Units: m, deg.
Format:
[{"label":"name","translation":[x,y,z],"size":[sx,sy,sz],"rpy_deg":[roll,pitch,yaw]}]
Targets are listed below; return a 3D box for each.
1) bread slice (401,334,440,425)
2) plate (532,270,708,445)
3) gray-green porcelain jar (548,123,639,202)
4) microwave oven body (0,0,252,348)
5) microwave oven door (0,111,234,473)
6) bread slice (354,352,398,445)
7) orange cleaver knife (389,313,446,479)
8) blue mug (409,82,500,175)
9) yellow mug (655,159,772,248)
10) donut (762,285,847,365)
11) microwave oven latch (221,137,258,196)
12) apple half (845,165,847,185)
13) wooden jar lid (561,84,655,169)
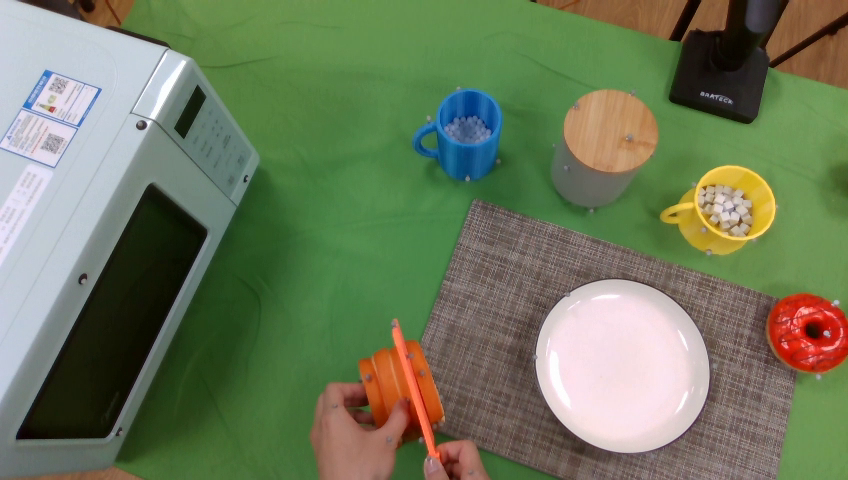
[{"label":"bread slice","translation":[-0.006,0.159,0.695],"size":[0.019,0.132,0.104],"rpy_deg":[-17,75,-8]},{"label":"plate","translation":[0.234,0.141,0.739],"size":[0.207,0.039,0.206],"rpy_deg":[0,74,2]},{"label":"gray-green porcelain jar","translation":[0.217,-0.113,0.771],"size":[0.106,0.127,0.105],"rpy_deg":[0,73,2]},{"label":"microwave oven body","translation":[-0.454,-0.017,0.689],"size":[0.325,0.261,0.440],"rpy_deg":[19,76,7]},{"label":"microwave oven door","translation":[-0.334,0.067,0.656],"size":[0.039,0.245,0.354],"rpy_deg":[19,75,7]},{"label":"bread slice","translation":[-0.055,0.177,0.693],"size":[0.018,0.135,0.106],"rpy_deg":[-20,70,-7]},{"label":"orange cleaver knife","translation":[-0.003,0.175,0.608],"size":[0.012,0.077,0.210],"rpy_deg":[-17,84,-2]},{"label":"blue mug","translation":[0.038,-0.142,0.795],"size":[0.116,0.106,0.082],"rpy_deg":[-6,73,0]},{"label":"yellow mug","translation":[0.365,-0.044,0.778],"size":[0.131,0.064,0.099],"rpy_deg":[-4,74,1]},{"label":"donut","translation":[0.464,0.104,0.740],"size":[0.099,0.048,0.098],"rpy_deg":[0,75,2]},{"label":"microwave oven latch","translation":[-0.250,-0.101,0.807],"size":[0.030,0.029,0.079],"rpy_deg":[23,76,8]},{"label":"apple half","translation":[0.567,-0.082,0.777],"size":[0.033,0.081,0.081],"rpy_deg":[-12,73,-6]},{"label":"wooden jar lid","translation":[0.214,-0.131,0.712],"size":[0.108,0.021,0.107],"rpy_deg":[0,72,2]}]
